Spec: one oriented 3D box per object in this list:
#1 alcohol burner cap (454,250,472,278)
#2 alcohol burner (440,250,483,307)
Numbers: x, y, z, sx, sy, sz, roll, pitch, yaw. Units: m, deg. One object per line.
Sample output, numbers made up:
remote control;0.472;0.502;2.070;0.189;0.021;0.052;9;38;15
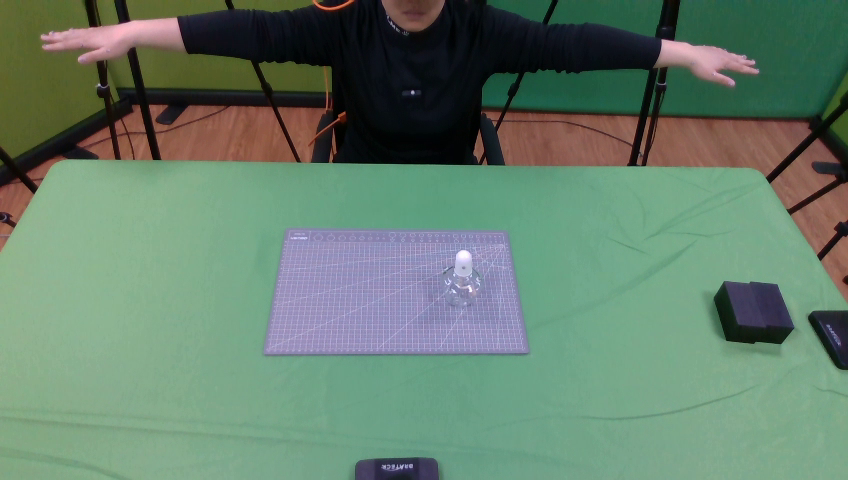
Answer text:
alcohol burner cap;0.068;0.038;1.049;0.034;0.048;0.033;-2;45;2
alcohol burner;0.068;0.063;1.076;0.078;0.120;0.077;1;45;-1
